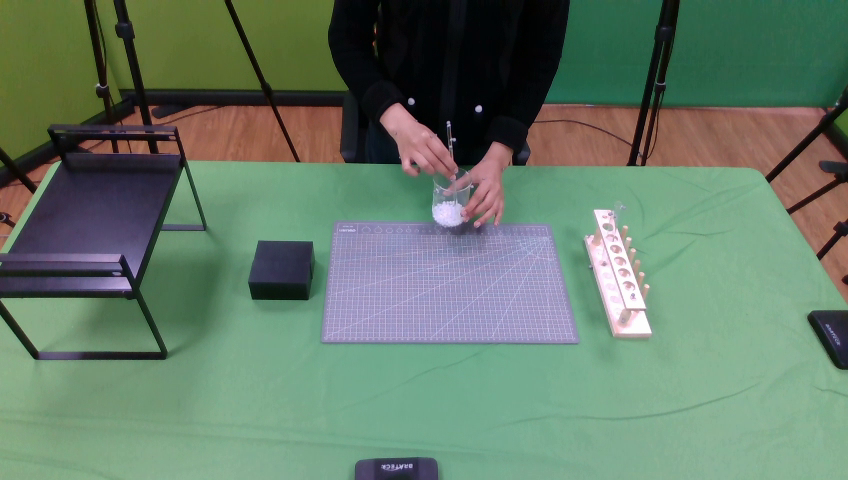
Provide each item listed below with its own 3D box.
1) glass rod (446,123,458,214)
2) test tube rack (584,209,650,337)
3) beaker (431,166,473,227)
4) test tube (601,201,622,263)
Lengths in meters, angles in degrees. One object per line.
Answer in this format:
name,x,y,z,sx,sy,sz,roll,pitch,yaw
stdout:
glass rod,0.054,-0.127,1.128,0.008,0.201,0.008,-5,40,4
test tube rack,0.365,0.056,1.129,0.067,0.085,0.240,1,46,-4
beaker,0.049,-0.083,1.170,0.074,0.101,0.083,-18,49,-20
test tube,0.346,-0.012,1.123,0.017,0.151,0.017,-2,45,2
